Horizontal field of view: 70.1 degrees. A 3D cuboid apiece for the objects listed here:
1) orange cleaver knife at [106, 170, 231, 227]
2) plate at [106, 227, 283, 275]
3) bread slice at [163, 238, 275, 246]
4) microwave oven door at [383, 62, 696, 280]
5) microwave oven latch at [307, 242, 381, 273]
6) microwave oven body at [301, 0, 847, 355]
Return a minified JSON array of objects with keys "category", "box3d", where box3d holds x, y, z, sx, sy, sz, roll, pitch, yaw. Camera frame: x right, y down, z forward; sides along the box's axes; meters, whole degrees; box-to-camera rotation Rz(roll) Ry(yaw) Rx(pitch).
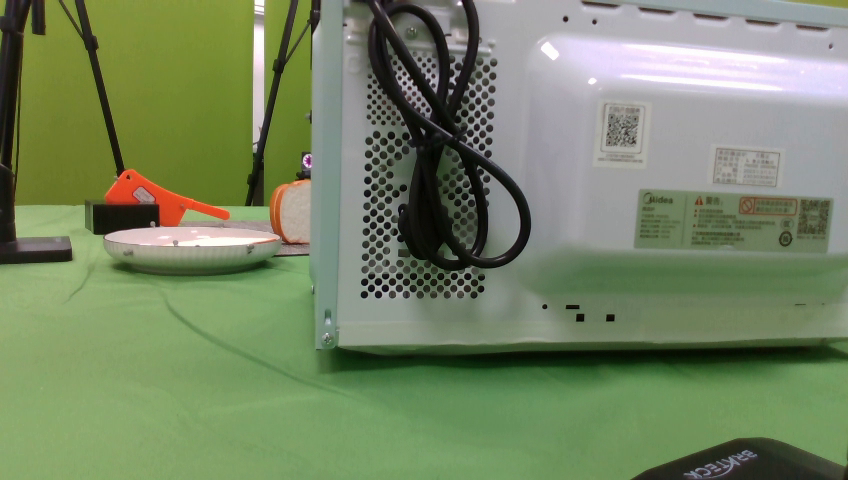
[{"category":"orange cleaver knife","box3d":[-0.458,-0.060,1.097,0.212,0.077,0.012,23,-4,-38]},{"category":"plate","box3d":[-0.288,0.013,0.772,0.208,0.039,0.207,2,7,0]},{"category":"bread slice","box3d":[-0.268,0.014,0.759,0.106,0.018,0.135,2,8,21]},{"category":"microwave oven door","box3d":[0.133,-0.082,0.725,0.356,0.243,0.039,3,8,2]},{"category":"microwave oven latch","box3d":[-0.086,0.019,0.656,0.079,0.029,0.030,2,7,-10]},{"category":"microwave oven body","box3d":[0.120,-0.053,0.535,0.443,0.260,0.325,2,7,-11]}]
